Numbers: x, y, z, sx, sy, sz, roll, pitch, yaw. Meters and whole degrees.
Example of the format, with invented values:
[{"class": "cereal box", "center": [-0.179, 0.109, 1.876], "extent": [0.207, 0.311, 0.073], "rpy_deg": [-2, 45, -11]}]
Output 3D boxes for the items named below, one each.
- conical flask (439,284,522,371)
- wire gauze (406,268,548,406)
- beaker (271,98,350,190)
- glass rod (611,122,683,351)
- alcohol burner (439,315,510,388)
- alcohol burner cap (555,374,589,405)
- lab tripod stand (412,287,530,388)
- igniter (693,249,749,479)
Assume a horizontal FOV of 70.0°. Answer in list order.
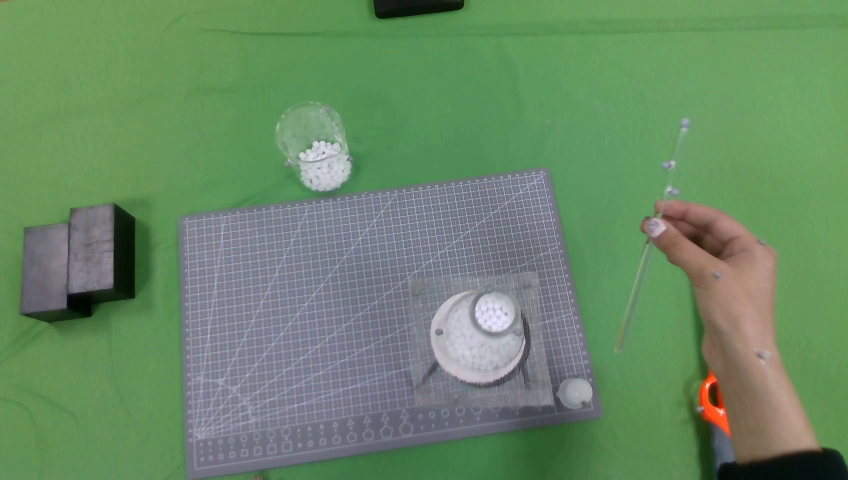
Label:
[{"class": "conical flask", "center": [0.050, 0.066, 0.496], "extent": [0.075, 0.122, 0.075], "rpy_deg": [0, 75, 0]}, {"class": "wire gauze", "center": [0.047, 0.088, 0.552], "extent": [0.125, 0.011, 0.121], "rpy_deg": [-2, 76, -2]}, {"class": "beaker", "center": [-0.124, -0.105, 0.699], "extent": [0.084, 0.101, 0.074], "rpy_deg": [27, 76, 7]}, {"class": "glass rod", "center": [0.178, 0.004, 0.491], "extent": [0.008, 0.008, 0.201], "rpy_deg": [9, 112, 3]}, {"class": "alcohol burner", "center": [0.051, 0.112, 0.624], "extent": [0.078, 0.120, 0.077], "rpy_deg": [-1, 73, 2]}, {"class": "alcohol burner cap", "center": [0.161, 0.159, 0.647], "extent": [0.034, 0.048, 0.033], "rpy_deg": [0, 73, 0]}, {"class": "lab tripod stand", "center": [0.050, 0.108, 0.615], "extent": [0.148, 0.132, 0.147], "rpy_deg": [0, 75, 1]}, {"class": "igniter", "center": [0.322, 0.144, 0.662], "extent": [0.057, 0.025, 0.275], "rpy_deg": [6, 73, -9]}]
